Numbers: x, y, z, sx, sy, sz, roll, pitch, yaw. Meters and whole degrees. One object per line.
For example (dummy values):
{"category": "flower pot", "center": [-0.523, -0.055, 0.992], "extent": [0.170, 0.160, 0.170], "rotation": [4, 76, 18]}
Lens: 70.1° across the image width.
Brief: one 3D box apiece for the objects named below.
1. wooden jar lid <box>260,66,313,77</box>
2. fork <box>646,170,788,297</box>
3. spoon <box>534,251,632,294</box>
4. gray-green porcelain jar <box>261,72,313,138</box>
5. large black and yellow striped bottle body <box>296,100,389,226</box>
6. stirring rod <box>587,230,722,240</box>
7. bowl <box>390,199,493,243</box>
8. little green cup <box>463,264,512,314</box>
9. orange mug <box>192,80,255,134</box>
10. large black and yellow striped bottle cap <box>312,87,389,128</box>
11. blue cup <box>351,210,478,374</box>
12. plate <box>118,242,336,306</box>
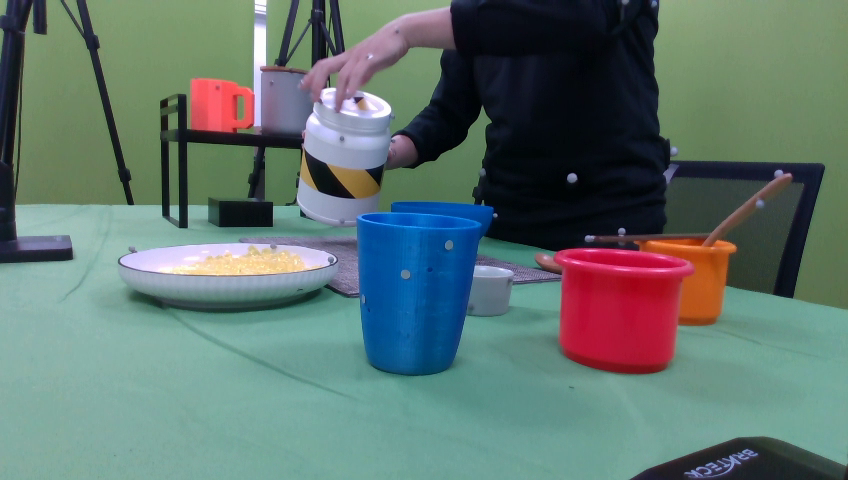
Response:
{"category": "wooden jar lid", "center": [-0.283, -0.339, 1.245], "extent": [0.108, 0.020, 0.108], "rotation": [5, 9, 0]}
{"category": "fork", "center": [0.256, 0.004, 0.543], "extent": [0.028, 0.018, 0.207], "rotation": [3, -36, -9]}
{"category": "spoon", "center": [0.193, 0.038, 0.753], "extent": [0.042, 0.021, 0.193], "rotation": [14, 2, -20]}
{"category": "gray-green porcelain jar", "center": [-0.284, -0.276, 1.253], "extent": [0.106, 0.126, 0.106], "rotation": [2, 8, 0]}
{"category": "large black and yellow striped bottle body", "center": [-0.127, -0.130, 0.948], "extent": [0.131, 0.184, 0.130], "rotation": [11, 31, -6]}
{"category": "stirring rod", "center": [0.227, -0.005, 0.585], "extent": [0.177, 0.006, 0.014], "rotation": [-2, 7, -28]}
{"category": "bowl", "center": [0.023, -0.016, 0.874], "extent": [0.151, 0.077, 0.151], "rotation": [3, 7, 0]}
{"category": "little green cup", "center": [0.053, 0.047, 0.580], "extent": [0.061, 0.038, 0.061], "rotation": [3, 8, 0]}
{"category": "orange mug", "center": [-0.388, -0.257, 1.172], "extent": [0.126, 0.100, 0.083], "rotation": [-1, 7, 9]}
{"category": "large black and yellow striped bottle cap", "center": [-0.109, -0.200, 0.907], "extent": [0.115, 0.019, 0.115], "rotation": [12, 32, -7]}
{"category": "blue cup", "center": [-0.009, 0.034, 0.414], "extent": [0.093, 0.100, 0.092], "rotation": [3, 9, 0]}
{"category": "plate", "center": [-0.194, 0.033, 0.615], "extent": [0.209, 0.038, 0.209], "rotation": [2, 7, 0]}
